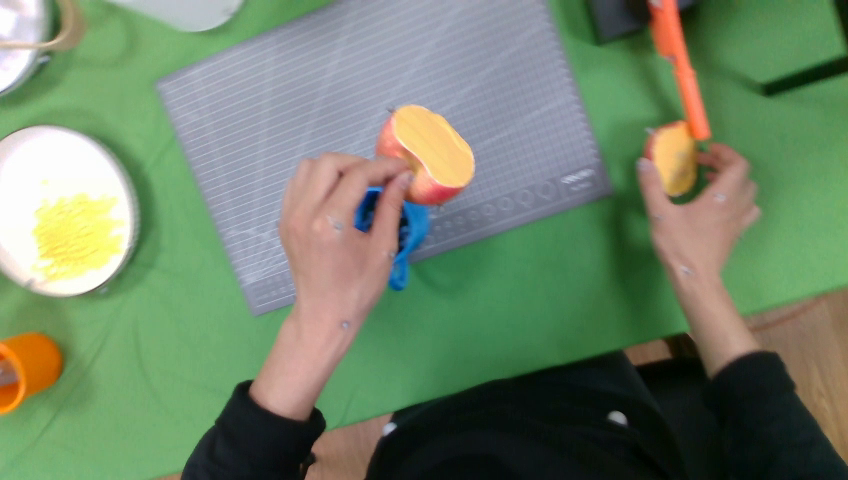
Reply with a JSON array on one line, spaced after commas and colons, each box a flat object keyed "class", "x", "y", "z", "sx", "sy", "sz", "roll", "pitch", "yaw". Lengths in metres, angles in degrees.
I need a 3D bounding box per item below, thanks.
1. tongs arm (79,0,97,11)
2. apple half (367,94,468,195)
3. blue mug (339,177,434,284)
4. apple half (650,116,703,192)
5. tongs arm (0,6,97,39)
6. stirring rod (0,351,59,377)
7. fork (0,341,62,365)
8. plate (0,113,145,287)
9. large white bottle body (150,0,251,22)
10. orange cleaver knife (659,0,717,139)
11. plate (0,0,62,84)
[{"class": "tongs arm", "x": -0.533, "y": -0.343, "z": 0.675, "sx": 0.387, "sy": 0.028, "sz": 0.028, "roll": 25, "pitch": 94, "yaw": 6}, {"class": "apple half", "x": -0.010, "y": -0.070, "z": 0.480, "sx": 0.081, "sy": 0.074, "sz": 0.053, "roll": 43, "pitch": 131, "yaw": -5}, {"class": "blue mug", "x": -0.033, "y": -0.011, "z": 0.649, "sx": 0.082, "sy": 0.106, "sz": 0.117, "roll": -10, "pitch": 97, "yaw": 9}, {"class": "apple half", "x": 0.256, "y": -0.089, "z": 0.630, "sx": 0.032, "sy": 0.082, "sz": 0.081, "roll": 16, "pitch": 104, "yaw": 51}, {"class": "tongs arm", "x": -0.554, "y": -0.263, "z": 0.687, "sx": 0.384, "sy": 0.026, "sz": 0.051, "roll": 11, "pitch": 96, "yaw": 8}, {"class": "stirring rod", "x": -0.541, "y": 0.166, "z": 0.729, "sx": 0.177, "sy": 0.006, "sz": 0.014, "roll": -15, "pitch": 85, "yaw": -31}, {"class": "fork", "x": -0.555, "y": 0.151, "z": 0.726, "sx": 0.208, "sy": 0.018, "sz": 0.028, "roll": -7, "pitch": 98, "yaw": -35}, {"class": "plate", "x": -0.432, "y": -0.048, "z": 0.735, "sx": 0.209, "sy": 0.038, "sz": 0.209, "roll": 1, "pitch": 99, "yaw": 8}, {"class": "large white bottle body", "x": -0.255, "y": -0.302, "z": 0.598, "sx": 0.130, "sy": 0.184, "sz": 0.131, "roll": 1, "pitch": 97, "yaw": 8}, {"class": "orange cleaver knife", "x": 0.250, "y": -0.200, "z": 0.589, "sx": 0.012, "sy": 0.076, "sz": 0.213, "roll": -22, "pitch": 118, "yaw": 8}, {"class": "plate", "x": -0.516, "y": -0.287, "z": 0.711, "sx": 0.207, "sy": 0.039, "sz": 0.208, "roll": 1, "pitch": 99, "yaw": 8}]
